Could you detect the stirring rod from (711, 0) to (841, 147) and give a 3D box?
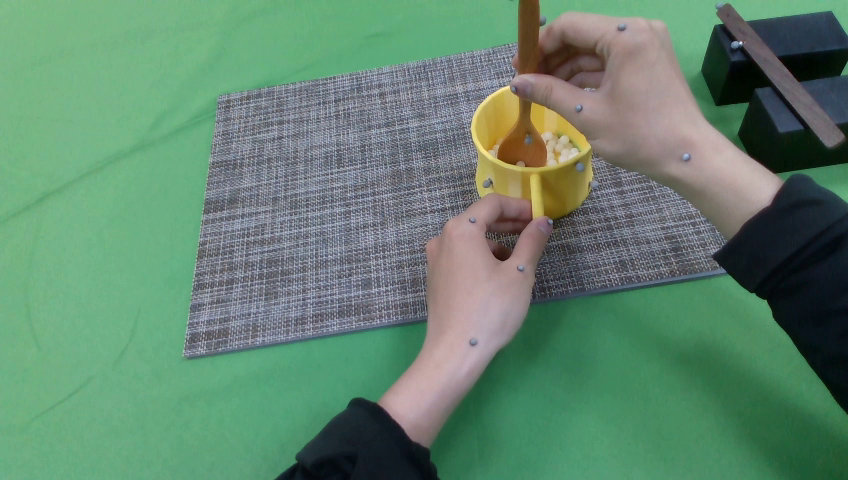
[{"bbox_3d":[0.278,-0.140,0.487,0.014,0.006,0.174,-36,50,28],"label":"stirring rod"}]

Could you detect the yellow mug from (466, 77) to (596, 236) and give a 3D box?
[{"bbox_3d":[0.086,-0.062,0.487,0.100,0.064,0.129,-3,56,7],"label":"yellow mug"}]

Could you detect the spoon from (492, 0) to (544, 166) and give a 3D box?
[{"bbox_3d":[0.069,-0.100,0.430,0.041,0.195,0.021,3,68,8],"label":"spoon"}]
